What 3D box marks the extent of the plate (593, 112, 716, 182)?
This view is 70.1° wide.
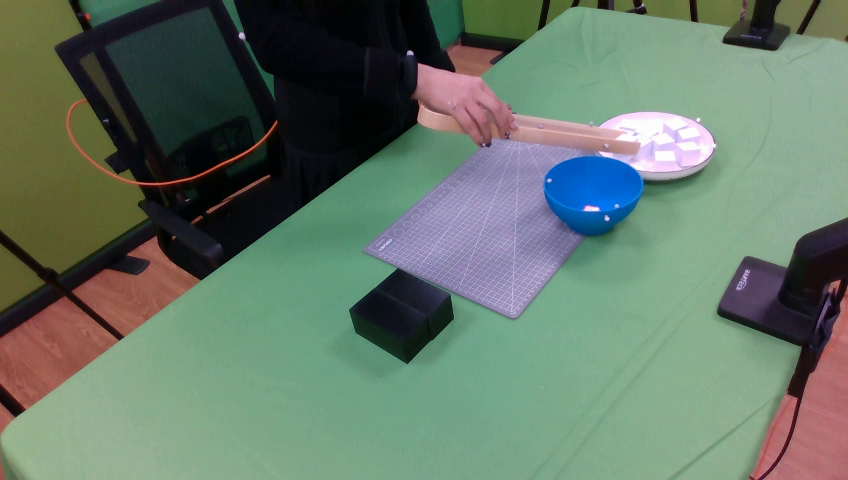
[{"bbox_3d":[0.408,-0.163,1.084,0.207,0.039,0.206,-4,40,4],"label":"plate"}]

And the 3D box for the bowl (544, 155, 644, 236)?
[{"bbox_3d":[0.266,-0.061,0.957,0.151,0.077,0.150,-5,40,5],"label":"bowl"}]

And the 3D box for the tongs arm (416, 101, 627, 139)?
[{"bbox_3d":[0.172,-0.187,0.994,0.387,0.026,0.050,6,30,-15],"label":"tongs arm"}]

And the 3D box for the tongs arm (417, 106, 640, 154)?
[{"bbox_3d":[0.179,-0.173,0.971,0.390,0.028,0.028,4,34,-17],"label":"tongs arm"}]
